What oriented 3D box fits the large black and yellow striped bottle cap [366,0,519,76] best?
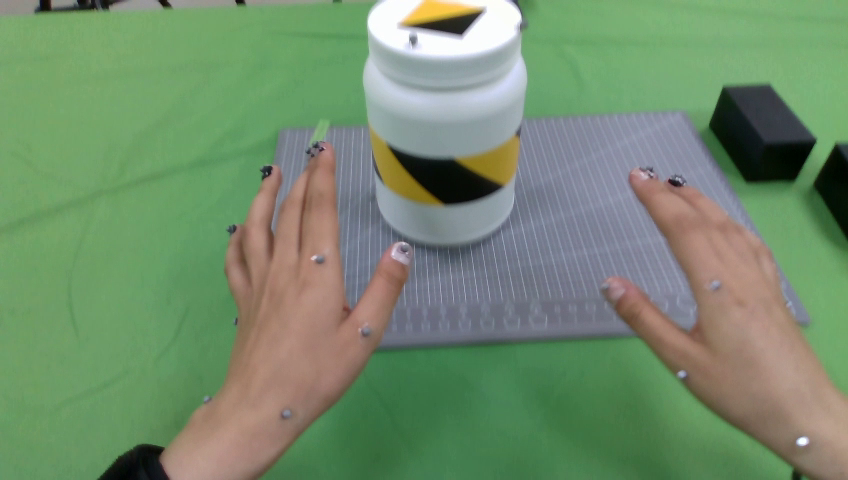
[{"bbox_3d":[0.013,-0.159,0.450,0.115,0.019,0.114,0,45,1],"label":"large black and yellow striped bottle cap"}]

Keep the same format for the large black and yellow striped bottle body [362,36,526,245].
[{"bbox_3d":[0.017,-0.101,0.512,0.131,0.185,0.129,-1,46,1],"label":"large black and yellow striped bottle body"}]
